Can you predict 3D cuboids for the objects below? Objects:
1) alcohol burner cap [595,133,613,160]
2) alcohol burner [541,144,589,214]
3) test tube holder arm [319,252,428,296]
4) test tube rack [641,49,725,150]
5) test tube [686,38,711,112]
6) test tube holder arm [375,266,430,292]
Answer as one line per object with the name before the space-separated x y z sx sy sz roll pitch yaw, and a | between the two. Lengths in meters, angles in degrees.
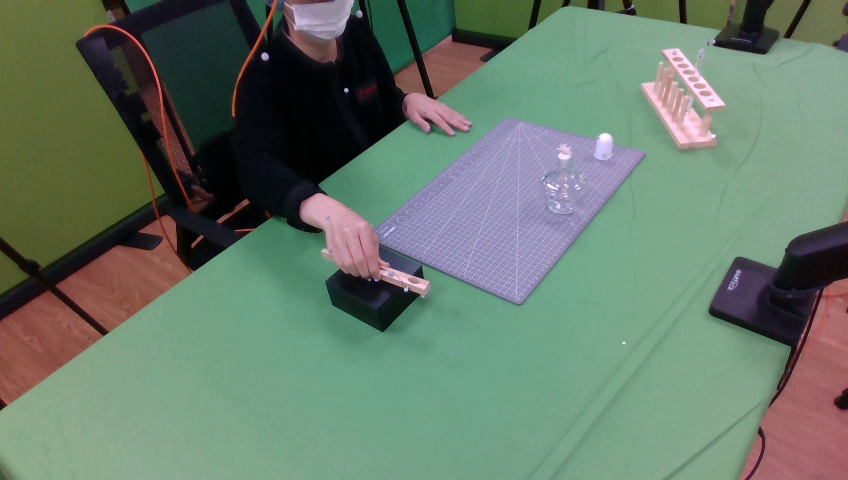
alcohol burner cap | 0.330 -0.172 1.104 0.034 0.048 0.033 -5 41 5
alcohol burner | 0.229 -0.102 0.983 0.078 0.119 0.077 -6 41 5
test tube holder arm | -0.075 0.046 0.854 0.177 0.015 0.013 15 36 21
test tube rack | 0.495 -0.279 1.175 0.067 0.085 0.241 -5 41 3
test tube | 0.508 -0.305 1.128 0.017 0.151 0.017 -2 46 3
test tube holder arm | -0.032 0.054 0.841 0.087 0.015 0.010 16 36 22
